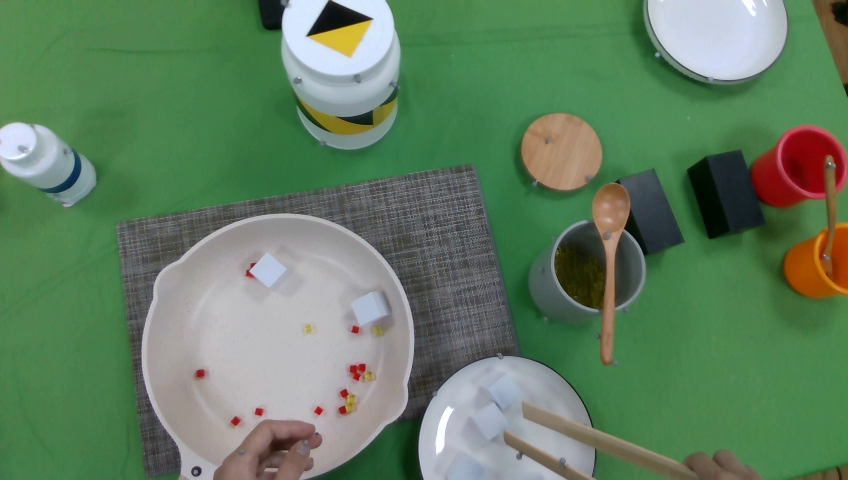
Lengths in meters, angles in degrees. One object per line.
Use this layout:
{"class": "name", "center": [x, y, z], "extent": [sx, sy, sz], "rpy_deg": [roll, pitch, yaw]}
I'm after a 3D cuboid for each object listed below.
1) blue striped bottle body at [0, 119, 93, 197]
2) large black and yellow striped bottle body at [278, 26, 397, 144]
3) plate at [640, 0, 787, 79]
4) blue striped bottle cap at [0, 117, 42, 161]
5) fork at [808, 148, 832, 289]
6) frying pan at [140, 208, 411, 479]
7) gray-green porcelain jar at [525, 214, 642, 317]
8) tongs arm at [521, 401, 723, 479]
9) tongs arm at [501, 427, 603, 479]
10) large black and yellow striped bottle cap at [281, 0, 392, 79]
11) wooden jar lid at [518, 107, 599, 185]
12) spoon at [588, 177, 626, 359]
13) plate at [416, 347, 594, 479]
{"class": "blue striped bottle body", "center": [-0.435, -0.095, 0.689], "extent": [0.063, 0.121, 0.063], "rpy_deg": [1, 77, -4]}
{"class": "large black and yellow striped bottle body", "center": [-0.098, -0.205, 0.712], "extent": [0.131, 0.184, 0.130], "rpy_deg": [1, 77, -5]}
{"class": "plate", "center": [0.403, -0.320, 0.855], "extent": [0.209, 0.038, 0.208], "rpy_deg": [1, 78, -5]}
{"class": "blue striped bottle cap", "center": [-0.431, -0.107, 0.639], "extent": [0.044, 0.020, 0.044], "rpy_deg": [1, 80, -5]}
{"class": "fork", "center": [0.489, -0.022, 0.743], "extent": [0.028, 0.018, 0.209], "rpy_deg": [-23, 125, -2]}
{"class": "frying pan", "center": [-0.210, 0.196, 0.653], "extent": [0.306, 0.103, 0.486], "rpy_deg": [30, 69, 2]}
{"class": "gray-green porcelain jar", "center": [0.180, 0.035, 0.715], "extent": [0.106, 0.127, 0.105], "rpy_deg": [1, 77, -5]}
{"class": "tongs arm", "center": [0.253, 0.228, 0.548], "extent": [0.384, 0.028, 0.028], "rpy_deg": [16, 36, 37]}
{"class": "tongs arm", "center": [0.237, 0.241, 0.532], "extent": [0.381, 0.027, 0.051], "rpy_deg": [19, 41, 40]}
{"class": "large black and yellow striped bottle cap", "center": [-0.090, -0.225, 0.630], "extent": [0.115, 0.019, 0.114], "rpy_deg": [1, 79, -5]}
{"class": "wooden jar lid", "center": [0.176, -0.123, 0.803], "extent": [0.108, 0.021, 0.108], "rpy_deg": [1, 79, -5]}
{"class": "spoon", "center": [0.193, 0.029, 0.646], "extent": [0.042, 0.021, 0.193], "rpy_deg": [6, 81, -8]}
{"class": "plate", "center": [0.093, 0.231, 0.709], "extent": [0.208, 0.039, 0.206], "rpy_deg": [1, 79, -6]}
